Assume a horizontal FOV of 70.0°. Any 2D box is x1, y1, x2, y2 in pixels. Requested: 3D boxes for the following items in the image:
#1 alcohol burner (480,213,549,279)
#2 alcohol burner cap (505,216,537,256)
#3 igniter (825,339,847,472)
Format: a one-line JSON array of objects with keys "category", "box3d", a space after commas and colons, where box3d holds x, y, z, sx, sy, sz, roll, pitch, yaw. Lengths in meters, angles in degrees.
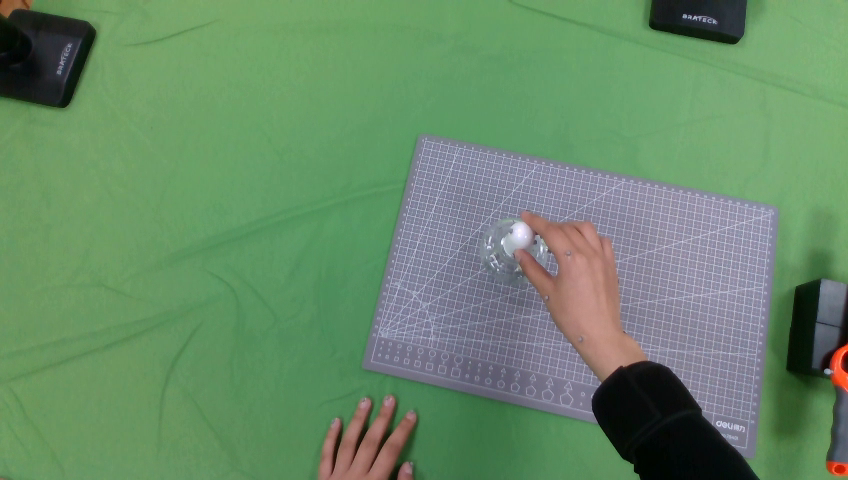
[{"category": "alcohol burner", "box3d": [0.103, 0.003, 0.670, 0.078, 0.119, 0.077, 0, 76, -1]}, {"category": "alcohol burner cap", "box3d": [0.103, -0.006, 0.634, 0.034, 0.048, 0.033, -1, 67, 2]}, {"category": "igniter", "box3d": [0.466, 0.110, 0.643, 0.057, 0.025, 0.275, 16, 76, 7]}]
